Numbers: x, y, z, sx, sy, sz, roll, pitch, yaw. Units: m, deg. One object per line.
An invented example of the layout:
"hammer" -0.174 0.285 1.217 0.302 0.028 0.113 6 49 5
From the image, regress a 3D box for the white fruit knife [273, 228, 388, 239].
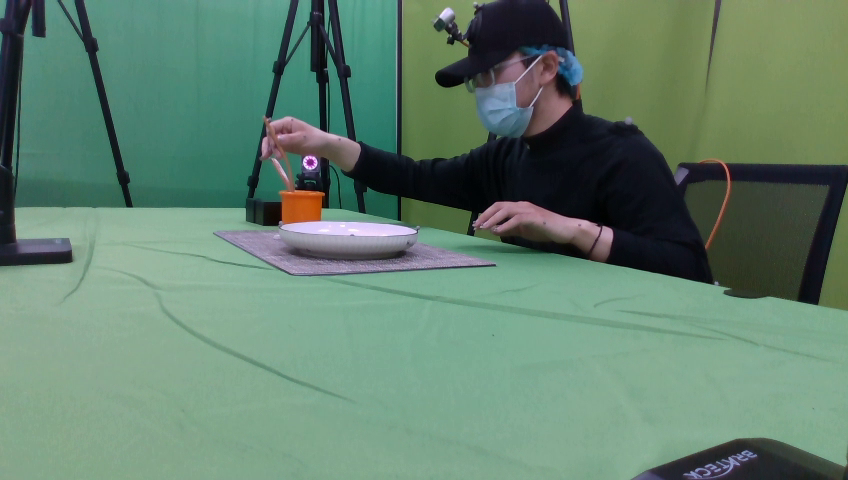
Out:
"white fruit knife" -0.158 -0.009 1.055 0.208 0.016 0.027 -3 -22 -23

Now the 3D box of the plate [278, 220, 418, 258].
"plate" -0.114 -0.002 0.914 0.209 0.038 0.209 2 7 0

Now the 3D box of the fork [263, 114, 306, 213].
"fork" -0.272 -0.147 1.185 0.018 0.207 0.028 -16 19 -1

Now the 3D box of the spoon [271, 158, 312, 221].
"spoon" -0.276 -0.103 1.247 0.042 0.193 0.021 -5 -34 -39
